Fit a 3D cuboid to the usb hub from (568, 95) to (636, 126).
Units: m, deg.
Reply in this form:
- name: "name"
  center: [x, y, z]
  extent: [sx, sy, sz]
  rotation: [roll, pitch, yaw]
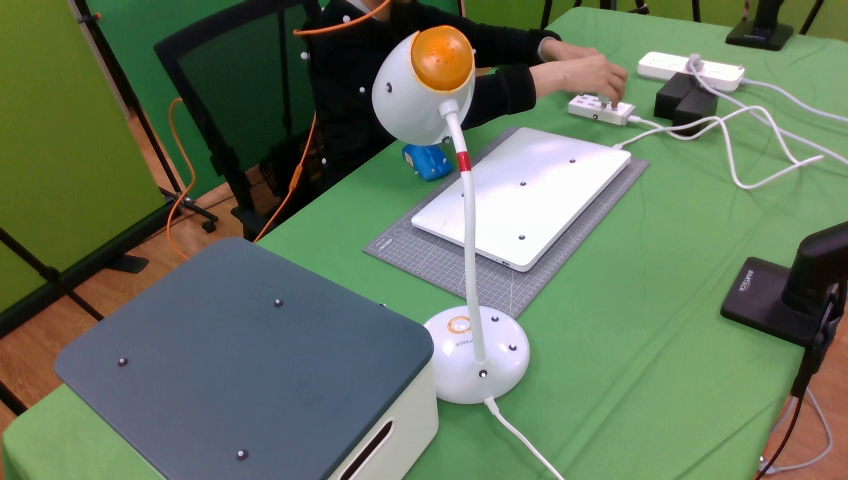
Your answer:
- name: "usb hub"
  center: [0.360, -0.263, 1.228]
  extent: [0.124, 0.025, 0.049]
  rotation: [24, 49, 34]

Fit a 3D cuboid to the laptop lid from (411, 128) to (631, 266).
- name: "laptop lid"
  center: [0.173, -0.093, 1.049]
  extent: [0.239, 0.013, 0.358]
  rotation: [24, 50, 36]

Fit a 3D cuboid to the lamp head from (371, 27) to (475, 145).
- name: "lamp head"
  center: [0.007, -0.167, 0.644]
  extent: [0.113, 0.112, 0.122]
  rotation: [-22, 2, -14]

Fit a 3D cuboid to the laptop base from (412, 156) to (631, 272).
- name: "laptop base"
  center: [0.176, -0.084, 1.056]
  extent: [0.233, 0.023, 0.355]
  rotation: [21, 48, 36]

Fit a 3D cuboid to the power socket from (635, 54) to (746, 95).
- name: "power socket"
  center: [0.565, -0.357, 1.293]
  extent: [0.225, 0.033, 0.072]
  rotation: [24, 51, 33]

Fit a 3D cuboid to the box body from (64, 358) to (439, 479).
- name: "box body"
  center: [-0.189, 0.178, 0.702]
  extent: [0.361, 0.161, 0.255]
  rotation: [22, 49, 32]

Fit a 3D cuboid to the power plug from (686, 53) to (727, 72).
- name: "power plug"
  center: [0.584, -0.360, 1.260]
  extent: [0.072, 0.053, 0.035]
  rotation: [16, 55, 18]

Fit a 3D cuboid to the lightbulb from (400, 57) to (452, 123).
- name: "lightbulb"
  center: [0.004, -0.169, 0.668]
  extent: [0.059, 0.108, 0.059]
  rotation: [1, 79, -3]

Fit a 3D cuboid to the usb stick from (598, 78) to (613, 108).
- name: "usb stick"
  center: [0.356, -0.286, 1.188]
  extent: [0.021, 0.059, 0.027]
  rotation: [21, 63, 29]

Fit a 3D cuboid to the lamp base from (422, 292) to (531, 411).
- name: "lamp base"
  center: [0.055, 0.095, 0.740]
  extent: [0.161, 0.181, 0.177]
  rotation: [-19, 43, -11]

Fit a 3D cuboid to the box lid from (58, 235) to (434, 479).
- name: "box lid"
  center: [-0.198, 0.123, 0.653]
  extent: [0.368, 0.015, 0.264]
  rotation: [22, 49, 32]

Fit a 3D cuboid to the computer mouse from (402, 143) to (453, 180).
- name: "computer mouse"
  center: [0.006, -0.159, 1.165]
  extent: [0.063, 0.041, 0.116]
  rotation: [-21, 45, -17]
